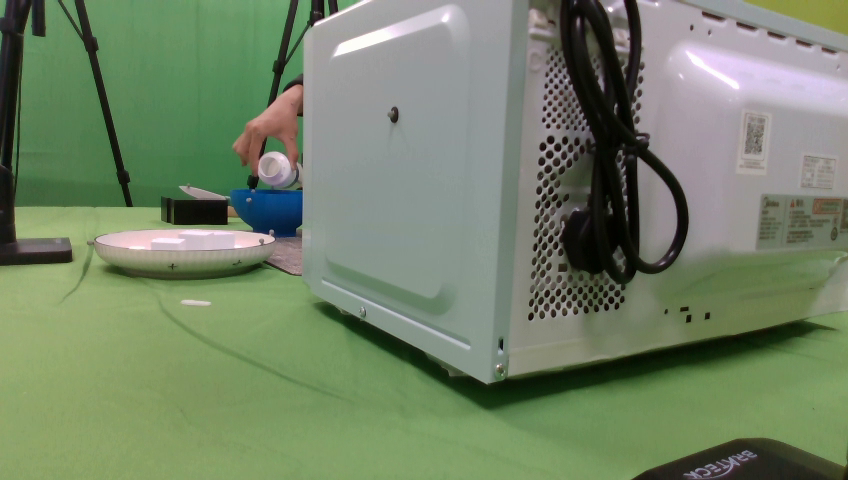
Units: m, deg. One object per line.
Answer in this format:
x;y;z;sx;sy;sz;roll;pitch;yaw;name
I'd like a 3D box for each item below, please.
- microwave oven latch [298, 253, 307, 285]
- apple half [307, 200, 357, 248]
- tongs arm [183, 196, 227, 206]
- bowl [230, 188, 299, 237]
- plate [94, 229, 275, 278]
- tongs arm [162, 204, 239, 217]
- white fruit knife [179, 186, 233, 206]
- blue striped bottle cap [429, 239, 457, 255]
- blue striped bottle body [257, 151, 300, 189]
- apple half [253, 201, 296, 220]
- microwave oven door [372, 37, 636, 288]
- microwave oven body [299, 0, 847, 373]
-0.081;0.027;0.582;0.079;0.029;0.030;-2;7;-33;microwave oven latch
-0.135;-0.024;0.941;0.053;0.074;0.081;13;9;38;apple half
-0.404;-0.081;1.479;0.385;0.026;0.050;3;8;-2;tongs arm
-0.264;-0.048;1.065;0.151;0.077;0.151;2;8;0;bowl
-0.291;0.016;0.750;0.208;0.039;0.207;2;7;0;plate
-0.396;-0.066;1.399;0.389;0.028;0.028;1;5;-15;tongs arm
-0.413;-0.081;1.270;0.208;0.027;0.016;17;14;-41;white fruit knife
0.029;0.011;0.945;0.044;0.020;0.044;0;5;0;blue striped bottle cap
-0.272;-0.131;1.137;0.063;0.063;0.121;3;0;5;blue striped bottle body
-0.264;-0.053;1.067;0.081;0.033;0.081;2;9;0;apple half
0.110;-0.080;0.686;0.358;0.243;0.039;-2;9;-33;microwave oven door
0.151;-0.055;0.542;0.444;0.260;0.324;-2;7;-33;microwave oven body
